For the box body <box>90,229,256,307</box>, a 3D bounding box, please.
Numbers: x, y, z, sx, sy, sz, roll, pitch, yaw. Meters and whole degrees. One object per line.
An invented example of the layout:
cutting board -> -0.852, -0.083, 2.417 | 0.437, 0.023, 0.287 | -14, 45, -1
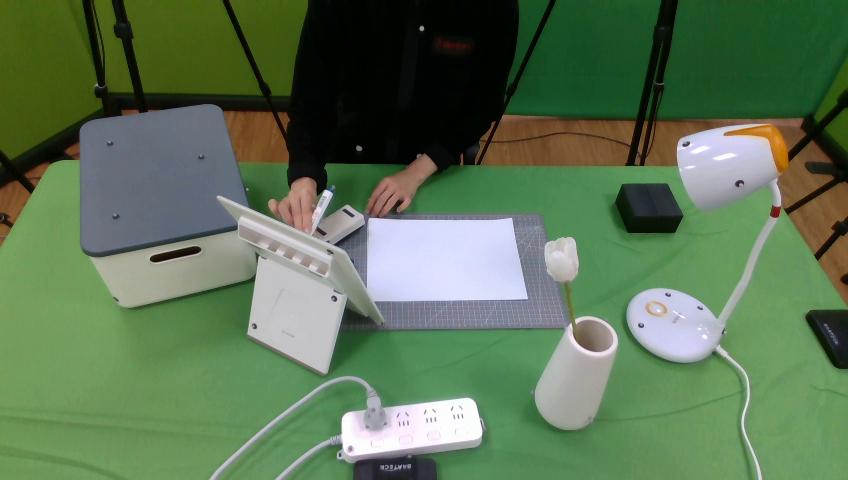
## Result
box body -> -0.471, -0.070, 1.131 | 0.254, 0.161, 0.361 | -14, 49, -17

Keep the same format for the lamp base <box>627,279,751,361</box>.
lamp base -> 0.460, 0.100, 1.027 | 0.178, 0.181, 0.160 | 27, 51, 17

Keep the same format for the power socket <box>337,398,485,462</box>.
power socket -> -0.018, 0.285, 0.914 | 0.227, 0.033, 0.071 | -4, 46, -8

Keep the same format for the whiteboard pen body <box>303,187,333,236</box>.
whiteboard pen body -> -0.189, -0.026, 1.018 | 0.017, 0.017, 0.140 | 20, 75, 14

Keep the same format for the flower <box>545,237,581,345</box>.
flower -> 0.213, 0.137, 0.846 | 0.038, 0.364, 0.044 | 22, 55, 40

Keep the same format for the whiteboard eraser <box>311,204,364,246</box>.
whiteboard eraser -> -0.175, -0.022, 1.188 | 0.055, 0.042, 0.112 | 36, 53, 26

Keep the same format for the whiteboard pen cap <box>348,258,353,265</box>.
whiteboard pen cap -> -0.152, 0.041, 1.146 | 0.033, 0.018, 0.018 | 12, 47, 10

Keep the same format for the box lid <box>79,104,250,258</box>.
box lid -> -0.467, -0.120, 1.075 | 0.264, 0.015, 0.369 | -13, 49, -17

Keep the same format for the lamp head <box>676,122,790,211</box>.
lamp head -> 0.423, -0.104, 0.819 | 0.122, 0.113, 0.112 | -13, 33, 40

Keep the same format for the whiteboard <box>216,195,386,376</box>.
whiteboard -> -0.212, 0.093, 0.939 | 0.216, 0.307, 0.143 | 24, 70, 17

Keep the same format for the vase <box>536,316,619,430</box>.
vase -> 0.229, 0.200, 0.901 | 0.098, 0.201, 0.097 | 3, 46, -3

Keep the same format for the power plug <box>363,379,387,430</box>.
power plug -> -0.071, 0.252, 0.911 | 0.035, 0.053, 0.072 | 3, 40, 0
